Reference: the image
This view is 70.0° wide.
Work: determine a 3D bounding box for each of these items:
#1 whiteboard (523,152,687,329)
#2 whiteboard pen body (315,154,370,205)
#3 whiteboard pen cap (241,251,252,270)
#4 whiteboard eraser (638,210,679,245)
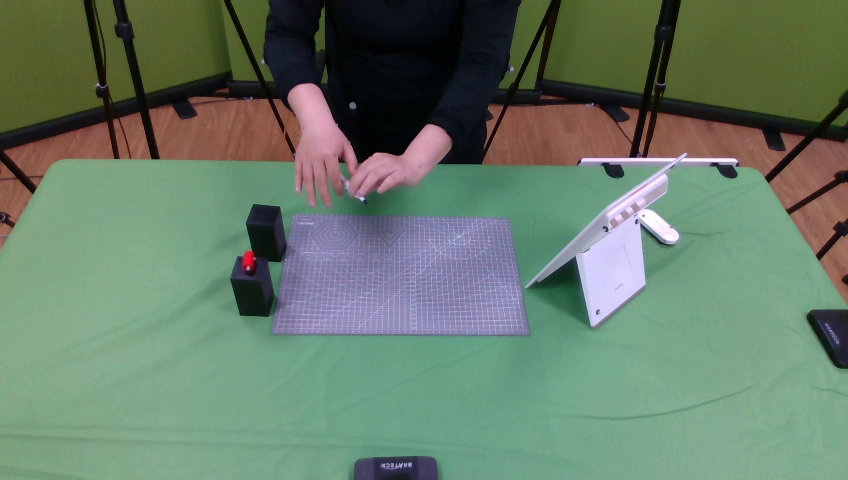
[{"bbox_3d":[0.346,0.024,1.047,0.217,0.306,0.143,-30,74,-29],"label":"whiteboard"},{"bbox_3d":[-0.143,-0.106,1.062,0.140,0.017,0.017,42,56,19],"label":"whiteboard pen body"},{"bbox_3d":[-0.294,0.033,1.005,0.017,0.017,0.032,-3,44,-7],"label":"whiteboard pen cap"},{"bbox_3d":[0.485,-0.027,1.260,0.041,0.019,0.100,-21,50,-21],"label":"whiteboard eraser"}]
